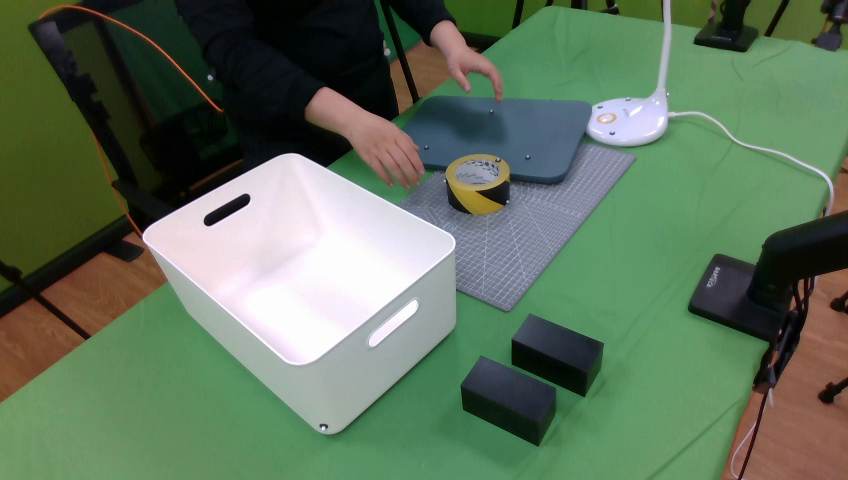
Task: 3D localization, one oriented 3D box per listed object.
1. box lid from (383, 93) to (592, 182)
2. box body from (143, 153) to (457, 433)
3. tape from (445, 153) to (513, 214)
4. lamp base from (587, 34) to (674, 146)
[{"bbox_3d":[0.128,-0.211,1.192,0.369,0.015,0.263,9,45,22],"label":"box lid"},{"bbox_3d":[-0.158,0.054,0.819,0.361,0.161,0.255,29,52,34],"label":"box body"},{"bbox_3d":[0.095,-0.098,1.042,0.117,0.053,0.116,-4,41,4],"label":"tape"},{"bbox_3d":[0.392,-0.291,1.129,0.180,0.181,0.159,-11,41,-8],"label":"lamp base"}]
